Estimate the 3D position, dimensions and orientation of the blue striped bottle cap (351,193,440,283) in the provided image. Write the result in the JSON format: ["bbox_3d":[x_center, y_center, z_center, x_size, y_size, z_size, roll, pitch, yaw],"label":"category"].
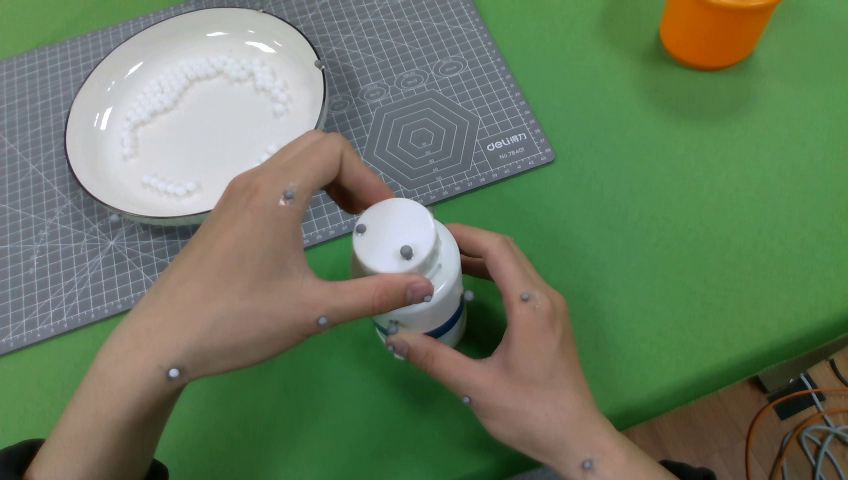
[{"bbox_3d":[-0.015,-0.002,0.312,0.044,0.021,0.044,-2,68,6],"label":"blue striped bottle cap"}]

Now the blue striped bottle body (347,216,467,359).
[{"bbox_3d":[-0.008,0.025,0.363,0.063,0.122,0.062,-3,63,6],"label":"blue striped bottle body"}]

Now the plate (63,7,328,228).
[{"bbox_3d":[-0.176,-0.098,0.485,0.207,0.039,0.206,-2,63,5],"label":"plate"}]
